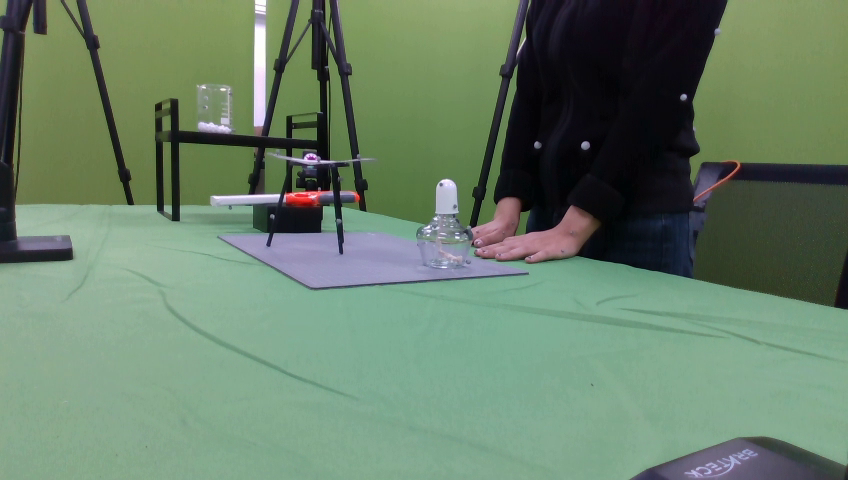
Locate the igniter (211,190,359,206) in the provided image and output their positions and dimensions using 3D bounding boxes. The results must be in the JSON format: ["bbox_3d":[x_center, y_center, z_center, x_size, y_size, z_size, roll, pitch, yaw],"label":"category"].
[{"bbox_3d":[-0.257,-0.079,1.148,0.278,0.025,0.057,-4,12,-30],"label":"igniter"}]

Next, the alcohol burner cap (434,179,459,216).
[{"bbox_3d":[0.031,-0.057,0.802,0.034,0.048,0.034,-1,10,0],"label":"alcohol burner cap"}]

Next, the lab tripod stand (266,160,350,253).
[{"bbox_3d":[-0.163,-0.054,0.915,0.148,0.131,0.148,2,9,0],"label":"lab tripod stand"}]

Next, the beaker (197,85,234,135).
[{"bbox_3d":[-0.444,-0.275,1.283,0.074,0.100,0.084,5,8,22],"label":"beaker"}]

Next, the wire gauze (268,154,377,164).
[{"bbox_3d":[-0.154,-0.120,0.910,0.122,0.011,0.124,-5,11,-44],"label":"wire gauze"}]

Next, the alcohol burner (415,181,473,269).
[{"bbox_3d":[0.028,-0.021,0.807,0.078,0.119,0.078,3,5,0],"label":"alcohol burner"}]
